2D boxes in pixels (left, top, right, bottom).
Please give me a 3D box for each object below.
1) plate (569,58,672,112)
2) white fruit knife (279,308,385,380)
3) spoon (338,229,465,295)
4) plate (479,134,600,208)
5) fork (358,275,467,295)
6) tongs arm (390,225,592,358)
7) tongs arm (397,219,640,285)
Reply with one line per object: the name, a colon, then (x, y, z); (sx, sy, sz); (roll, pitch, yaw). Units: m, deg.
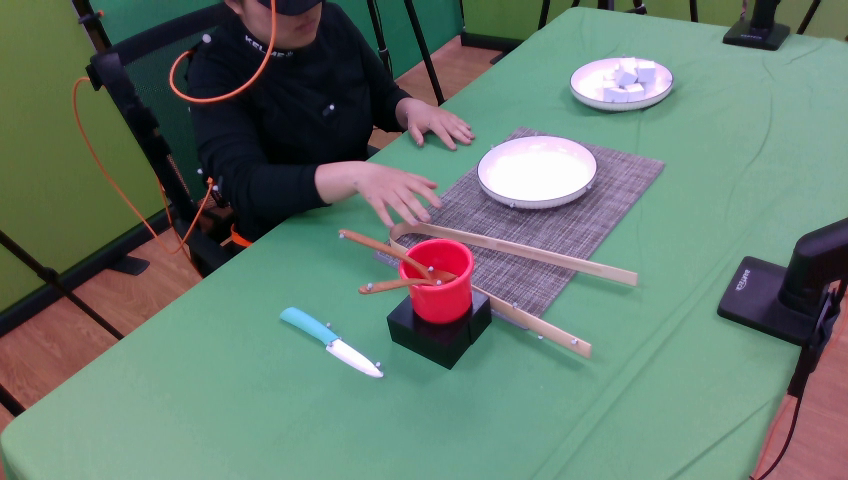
plate: (0.411, -0.323, 1.274); (0.209, 0.038, 0.208); (-5, 41, 5)
white fruit knife: (-0.130, 0.143, 0.845); (0.205, 0.016, 0.027); (25, 79, 32)
spoon: (-0.025, 0.026, 0.776); (0.021, 0.195, 0.041); (-41, 34, 32)
plate: (0.202, -0.117, 1.065); (0.207, 0.039, 0.206); (-5, 40, 5)
fork: (-0.009, 0.056, 0.739); (0.028, 0.018, 0.209); (48, 23, 26)
tongs arm: (0.082, 0.063, 0.879); (0.381, 0.026, 0.051); (25, 52, 35)
tongs arm: (0.132, 0.016, 0.927); (0.385, 0.028, 0.028); (13, 50, 25)
